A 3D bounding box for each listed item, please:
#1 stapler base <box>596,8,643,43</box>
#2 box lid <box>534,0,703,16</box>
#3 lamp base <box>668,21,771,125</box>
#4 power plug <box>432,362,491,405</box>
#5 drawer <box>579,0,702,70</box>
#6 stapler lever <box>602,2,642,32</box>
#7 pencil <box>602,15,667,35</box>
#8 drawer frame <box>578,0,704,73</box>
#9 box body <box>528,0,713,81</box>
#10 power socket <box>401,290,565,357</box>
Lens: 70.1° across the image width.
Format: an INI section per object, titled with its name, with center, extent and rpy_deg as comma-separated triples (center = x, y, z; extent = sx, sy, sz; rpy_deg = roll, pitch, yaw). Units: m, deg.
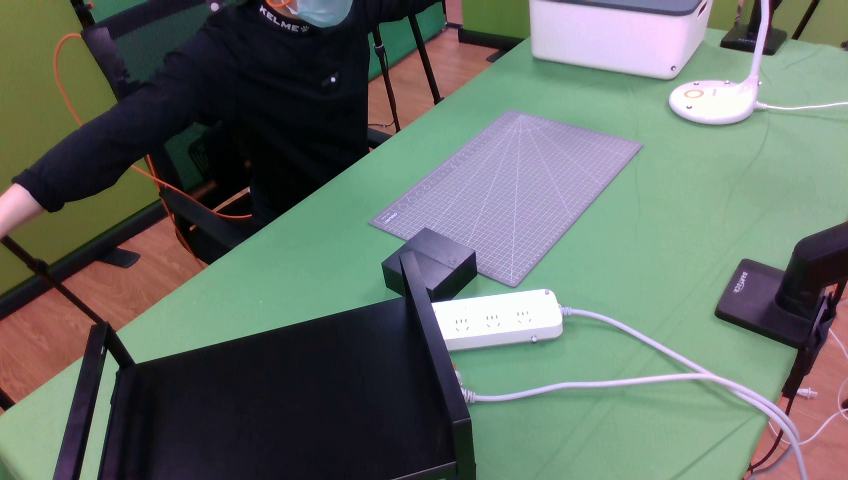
[stapler base]
center = 0.454, -0.502, 1.399
extent = 0.131, 0.024, 0.041
rpy_deg = -38, 61, -20
[box lid]
center = 0.440, -0.569, 1.350
extent = 0.369, 0.015, 0.264
rpy_deg = 19, 47, 28
[lamp base]
center = 0.577, -0.333, 1.155
extent = 0.179, 0.181, 0.160
rpy_deg = 6, 42, 12
[power plug]
center = 0.045, 0.182, 0.758
extent = 0.073, 0.035, 0.052
rpy_deg = 21, 43, -18
[drawer]
center = 0.485, -0.489, 1.363
extent = 0.210, 0.073, 0.194
rpy_deg = 24, 61, 22
[stapler lever]
center = 0.452, -0.517, 1.380
extent = 0.118, 0.040, 0.026
rpy_deg = -39, 61, -19
[pencil]
center = 0.484, -0.494, 1.390
extent = 0.195, 0.012, 0.012
rpy_deg = -21, 42, -20
[drawer frame]
center = 0.487, -0.488, 1.361
extent = 0.212, 0.083, 0.202
rpy_deg = 23, 61, 22
[box body]
center = 0.450, -0.512, 1.398
extent = 0.361, 0.161, 0.254
rpy_deg = 19, 48, 28
[power socket]
center = 0.080, 0.112, 0.821
extent = 0.227, 0.033, 0.072
rpy_deg = -7, 41, 0
